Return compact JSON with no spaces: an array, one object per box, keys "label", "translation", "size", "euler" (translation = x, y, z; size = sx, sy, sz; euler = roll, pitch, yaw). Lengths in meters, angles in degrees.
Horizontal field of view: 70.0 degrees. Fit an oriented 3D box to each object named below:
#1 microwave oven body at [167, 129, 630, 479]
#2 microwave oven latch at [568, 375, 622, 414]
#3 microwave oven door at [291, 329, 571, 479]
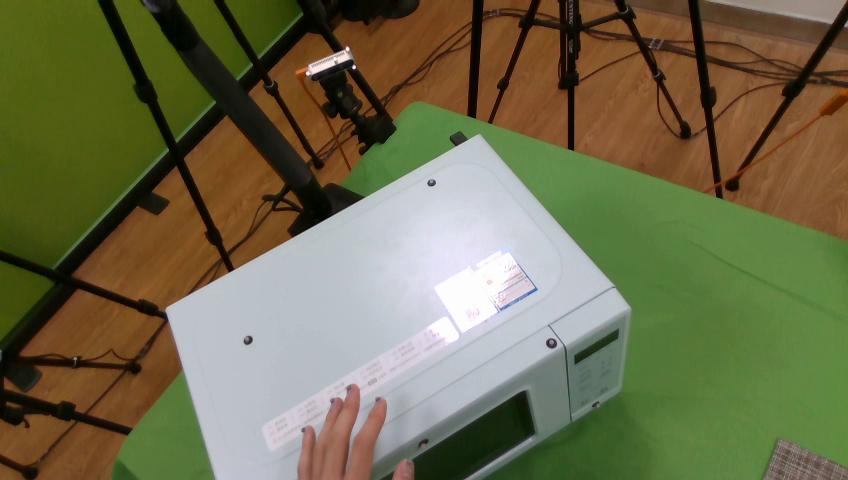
[{"label":"microwave oven body","translation":[-0.028,0.125,0.760],"size":[0.442,0.263,0.322],"euler":[-30,55,-5]},{"label":"microwave oven latch","translation":[0.214,0.189,0.774],"size":[0.079,0.030,0.030],"euler":[-29,55,-4]},{"label":"microwave oven door","translation":[0.001,0.241,0.669],"size":[0.356,0.246,0.039],"euler":[-30,54,-6]}]
